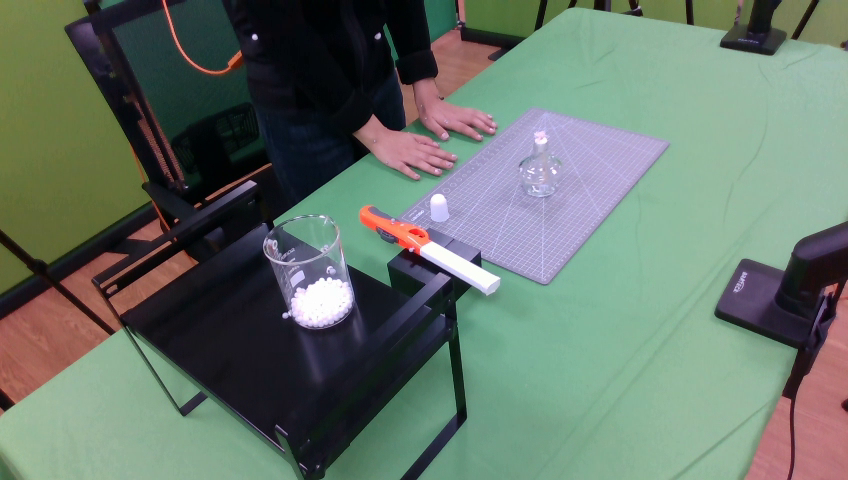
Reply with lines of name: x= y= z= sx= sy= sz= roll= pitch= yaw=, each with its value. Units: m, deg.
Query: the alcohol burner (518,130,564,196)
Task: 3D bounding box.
alcohol burner: x=0.199 y=-0.135 z=1.027 sx=0.078 sy=0.119 sz=0.077 roll=-5 pitch=42 yaw=5

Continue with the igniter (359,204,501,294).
igniter: x=-0.003 y=0.006 z=0.892 sx=0.274 sy=0.025 sz=0.057 roll=29 pitch=41 yaw=34

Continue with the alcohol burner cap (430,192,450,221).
alcohol burner cap: x=0.025 y=-0.059 z=1.020 sx=0.034 sy=0.048 sz=0.033 roll=-4 pitch=41 yaw=4

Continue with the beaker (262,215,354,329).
beaker: x=-0.112 y=0.034 z=0.616 sx=0.073 sy=0.101 sz=0.084 roll=13 pitch=44 yaw=23
